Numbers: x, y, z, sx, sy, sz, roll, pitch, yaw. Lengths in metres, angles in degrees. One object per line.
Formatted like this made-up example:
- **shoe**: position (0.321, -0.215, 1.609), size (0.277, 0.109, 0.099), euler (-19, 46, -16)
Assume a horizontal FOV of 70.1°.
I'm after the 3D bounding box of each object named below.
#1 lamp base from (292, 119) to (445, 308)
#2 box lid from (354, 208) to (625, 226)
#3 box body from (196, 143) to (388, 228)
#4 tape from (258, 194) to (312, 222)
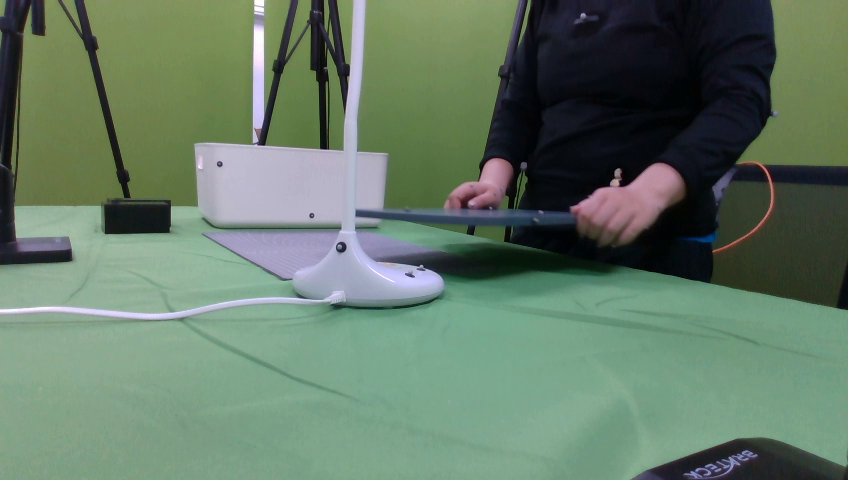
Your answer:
- **lamp base**: position (-0.056, -0.030, 0.616), size (0.160, 0.180, 0.179), euler (4, 10, 8)
- **box lid**: position (0.101, -0.035, 0.889), size (0.262, 0.015, 0.373), euler (5, 6, 42)
- **box body**: position (-0.286, -0.117, 1.291), size (0.366, 0.160, 0.253), euler (-1, 8, -27)
- **tape**: position (-0.299, -0.070, 1.297), size (0.117, 0.052, 0.117), euler (3, 7, 0)
